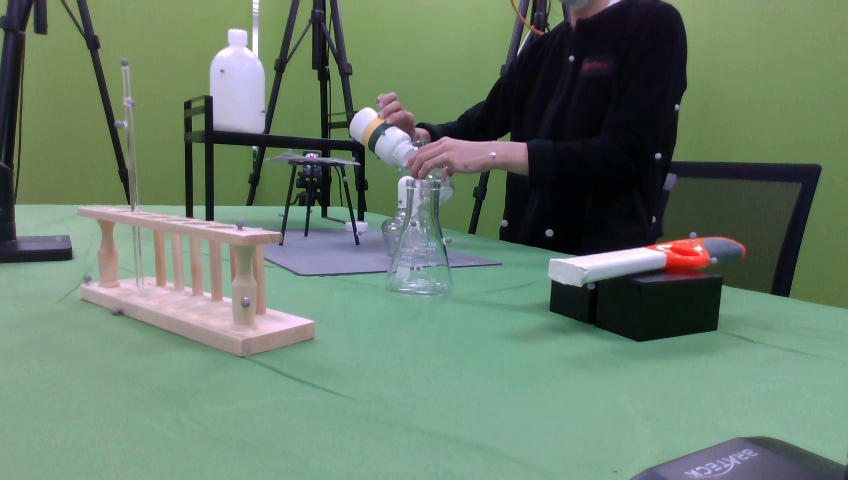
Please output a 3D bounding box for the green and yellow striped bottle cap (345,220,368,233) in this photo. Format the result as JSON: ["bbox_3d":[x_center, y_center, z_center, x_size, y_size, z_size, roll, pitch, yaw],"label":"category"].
[{"bbox_3d":[-0.130,-0.026,1.168,0.045,0.020,0.045,3,9,0],"label":"green and yellow striped bottle cap"}]

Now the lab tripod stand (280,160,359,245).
[{"bbox_3d":[-0.176,-0.062,0.973,0.148,0.131,0.148,1,7,0],"label":"lab tripod stand"}]

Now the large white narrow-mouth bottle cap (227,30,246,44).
[{"bbox_3d":[-0.361,-0.390,1.165,0.038,0.024,0.037,1,7,0],"label":"large white narrow-mouth bottle cap"}]

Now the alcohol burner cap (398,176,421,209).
[{"bbox_3d":[-0.023,-0.068,0.866,0.034,0.048,0.034,-5,8,1],"label":"alcohol burner cap"}]

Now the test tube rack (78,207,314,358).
[{"bbox_3d":[-0.196,0.023,0.500,0.241,0.085,0.067,8,8,37],"label":"test tube rack"}]

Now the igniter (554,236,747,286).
[{"bbox_3d":[0.221,0.017,0.558,0.278,0.025,0.057,-5,15,-39],"label":"igniter"}]

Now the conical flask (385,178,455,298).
[{"bbox_3d":[-0.002,-0.004,0.639,0.075,0.122,0.075,2,7,0],"label":"conical flask"}]

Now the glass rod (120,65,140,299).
[{"bbox_3d":[-0.249,-0.047,0.513,0.008,0.199,0.008,-1,4,0],"label":"glass rod"}]

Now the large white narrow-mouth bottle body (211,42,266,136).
[{"bbox_3d":[-0.361,-0.302,1.176,0.102,0.194,0.102,1,7,0],"label":"large white narrow-mouth bottle body"}]

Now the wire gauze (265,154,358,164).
[{"bbox_3d":[-0.181,-0.129,0.969,0.126,0.011,0.121,-1,7,-27],"label":"wire gauze"}]

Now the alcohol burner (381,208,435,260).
[{"bbox_3d":[-0.023,-0.032,0.871,0.078,0.119,0.078,0,6,0],"label":"alcohol burner"}]

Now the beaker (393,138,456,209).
[{"bbox_3d":[0.004,-0.111,1.018,0.074,0.100,0.084,-18,-20,-29],"label":"beaker"}]

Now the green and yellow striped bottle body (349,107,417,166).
[{"bbox_3d":[-0.069,-0.178,1.062,0.119,0.063,0.063,38,22,20],"label":"green and yellow striped bottle body"}]
